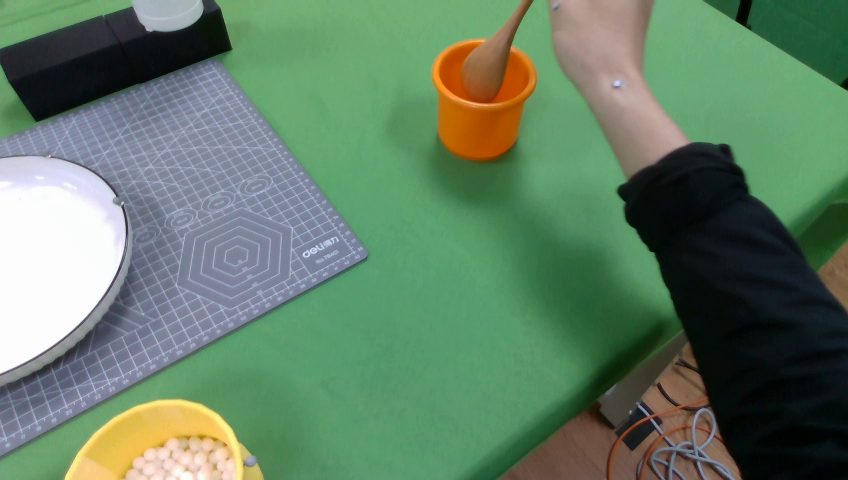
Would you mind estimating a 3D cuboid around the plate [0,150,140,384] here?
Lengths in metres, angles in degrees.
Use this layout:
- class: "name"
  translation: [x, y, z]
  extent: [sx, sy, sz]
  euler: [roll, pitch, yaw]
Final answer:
- class: "plate"
  translation: [-0.319, 0.020, 0.458]
  extent: [0.208, 0.039, 0.205]
  euler: [1, 55, -1]

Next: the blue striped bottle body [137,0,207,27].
- class: "blue striped bottle body"
  translation: [-0.243, -0.261, 0.544]
  extent: [0.063, 0.122, 0.062]
  euler: [1, 55, -1]

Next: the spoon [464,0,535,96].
- class: "spoon"
  translation: [0.082, -0.190, 0.462]
  extent: [0.041, 0.194, 0.021]
  euler: [42, 40, 11]

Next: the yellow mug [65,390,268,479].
- class: "yellow mug"
  translation: [-0.164, 0.154, 0.359]
  extent: [0.131, 0.064, 0.099]
  euler: [-20, 59, -14]
